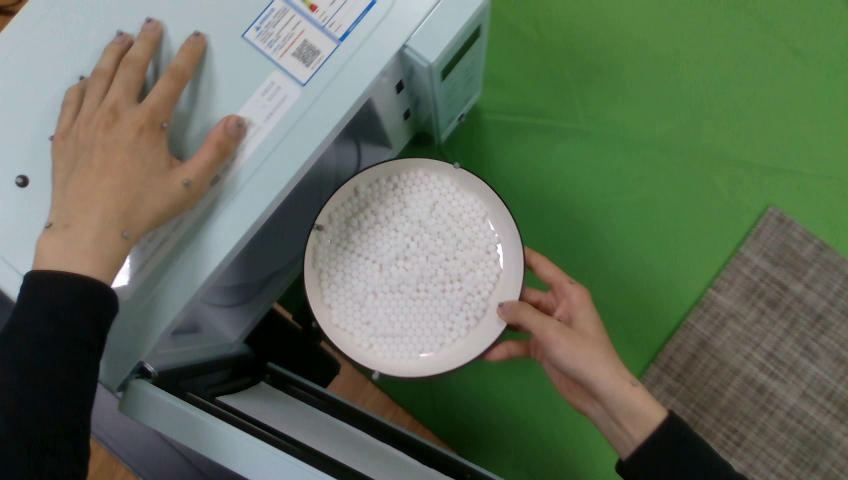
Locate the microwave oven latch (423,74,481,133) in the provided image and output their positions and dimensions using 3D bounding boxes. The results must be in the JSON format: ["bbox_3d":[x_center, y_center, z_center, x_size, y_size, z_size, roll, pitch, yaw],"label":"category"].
[{"bbox_3d":[0.032,-0.163,0.695,0.030,0.029,0.079,42,89,5],"label":"microwave oven latch"}]

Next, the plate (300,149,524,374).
[{"bbox_3d":[-0.011,0.020,0.573,0.209,0.038,0.208,0,85,3],"label":"plate"}]

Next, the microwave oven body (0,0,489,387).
[{"bbox_3d":[-0.200,-0.128,0.605,0.325,0.260,0.441,39,88,5],"label":"microwave oven body"}]

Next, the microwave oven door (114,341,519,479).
[{"bbox_3d":[-0.068,0.196,0.568,0.355,0.244,0.039,25,87,4],"label":"microwave oven door"}]
